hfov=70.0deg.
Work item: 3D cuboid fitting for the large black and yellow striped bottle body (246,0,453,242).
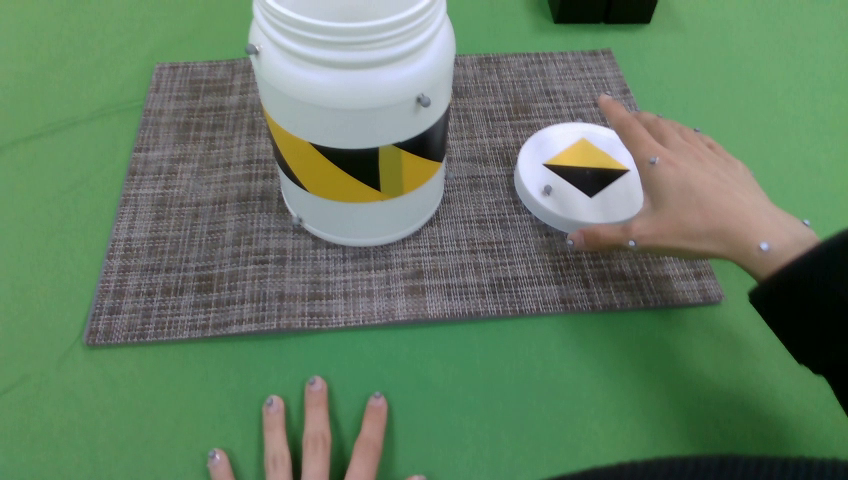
[{"bbox_3d":[-0.048,-0.101,0.421,0.131,0.185,0.129,2,53,-2],"label":"large black and yellow striped bottle body"}]

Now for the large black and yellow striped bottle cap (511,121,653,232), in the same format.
[{"bbox_3d":[0.130,-0.055,0.502,0.115,0.019,0.114,2,52,-2],"label":"large black and yellow striped bottle cap"}]
